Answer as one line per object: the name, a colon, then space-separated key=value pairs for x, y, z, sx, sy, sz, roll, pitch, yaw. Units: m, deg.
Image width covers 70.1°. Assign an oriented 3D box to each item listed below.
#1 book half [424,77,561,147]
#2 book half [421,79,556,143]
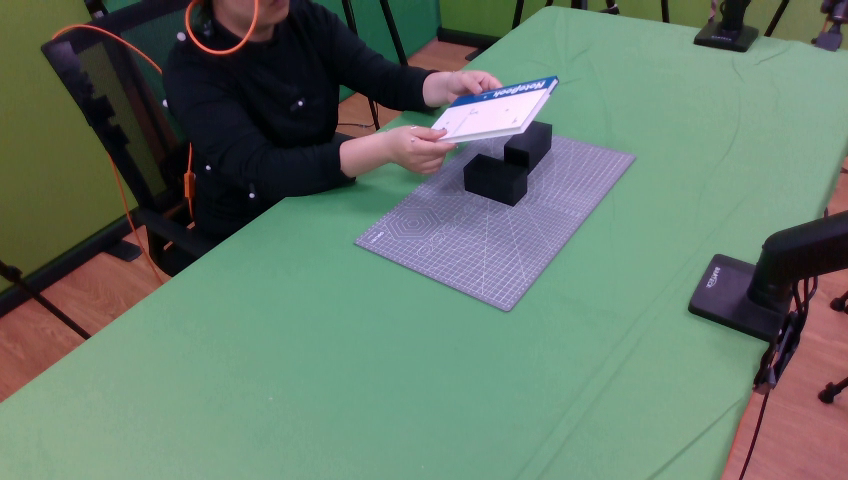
book half: x=0.111 y=-0.214 z=1.028 sx=0.208 sy=0.016 sz=0.149 roll=0 pitch=42 yaw=42
book half: x=0.105 y=-0.217 z=1.023 sx=0.208 sy=0.007 sz=0.143 roll=0 pitch=42 yaw=41
